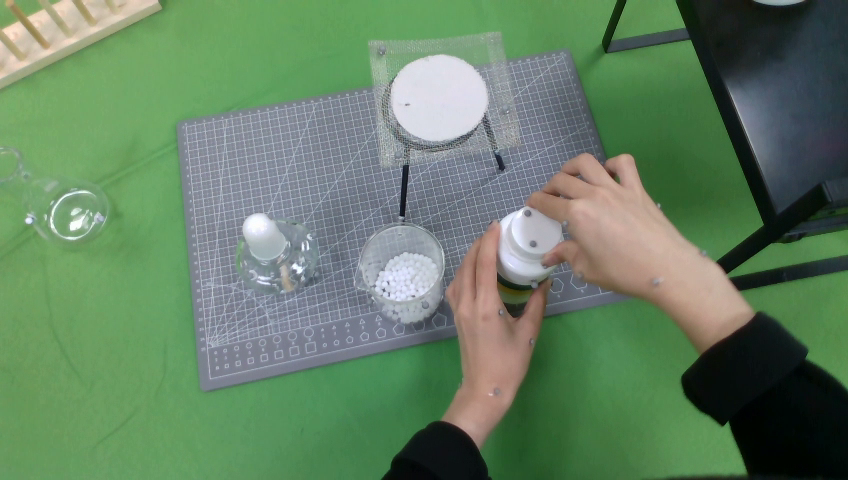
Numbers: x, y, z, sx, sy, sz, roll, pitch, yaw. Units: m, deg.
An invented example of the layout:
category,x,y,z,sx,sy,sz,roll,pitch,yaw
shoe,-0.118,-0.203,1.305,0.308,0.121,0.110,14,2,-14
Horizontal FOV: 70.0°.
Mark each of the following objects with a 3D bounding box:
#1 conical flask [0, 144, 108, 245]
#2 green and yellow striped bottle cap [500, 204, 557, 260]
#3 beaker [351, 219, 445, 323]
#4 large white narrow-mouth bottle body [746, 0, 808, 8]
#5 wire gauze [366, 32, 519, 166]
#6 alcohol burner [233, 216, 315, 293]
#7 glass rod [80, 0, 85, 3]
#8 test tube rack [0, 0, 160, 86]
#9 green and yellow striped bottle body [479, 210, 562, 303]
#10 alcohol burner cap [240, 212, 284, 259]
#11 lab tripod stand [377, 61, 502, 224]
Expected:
category,x,y,z,sx,sy,sz,roll,pitch,yaw
conical flask,-0.371,-0.048,0.584,0.075,0.122,0.075,0,70,1
green and yellow striped bottle cap,0.087,-0.007,0.503,0.046,0.020,0.045,7,69,-19
beaker,-0.021,0.036,0.562,0.084,0.101,0.073,-24,71,-6
large white narrow-mouth bottle body,0.291,-0.267,0.426,0.102,0.196,0.101,0,69,1
wire gauze,0.015,-0.127,0.527,0.121,0.011,0.124,-6,71,-3
alcohol burner,-0.143,0.008,0.565,0.078,0.120,0.077,0,69,-1
glass rod,-0.398,-0.321,0.628,0.008,0.201,0.008,1,68,-3
test tube rack,-0.436,-0.257,0.676,0.242,0.085,0.066,-31,73,-10
green and yellow striped bottle body,0.088,0.013,0.556,0.063,0.120,0.062,1,70,-1
alcohol burner cap,-0.144,-0.007,0.531,0.034,0.048,0.033,1,63,-1
lab tripod stand,0.009,-0.099,0.589,0.148,0.132,0.147,0,69,0
